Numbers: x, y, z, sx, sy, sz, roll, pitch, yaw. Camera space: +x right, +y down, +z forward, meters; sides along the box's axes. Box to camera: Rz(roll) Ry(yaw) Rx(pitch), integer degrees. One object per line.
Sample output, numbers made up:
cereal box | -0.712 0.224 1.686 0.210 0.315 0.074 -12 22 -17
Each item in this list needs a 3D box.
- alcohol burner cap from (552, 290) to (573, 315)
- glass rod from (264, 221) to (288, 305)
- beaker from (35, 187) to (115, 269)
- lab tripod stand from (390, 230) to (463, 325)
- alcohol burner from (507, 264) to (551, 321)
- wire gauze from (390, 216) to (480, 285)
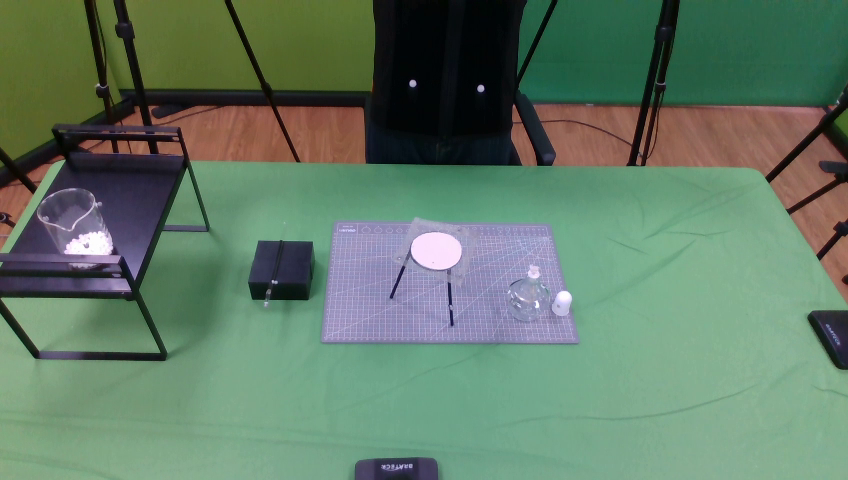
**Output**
alcohol burner cap | 0.250 0.109 1.088 0.034 0.048 0.033 4 47 -4
glass rod | -0.263 0.037 1.083 0.008 0.008 0.198 3 46 -1
beaker | -0.494 -0.012 0.867 0.074 0.101 0.083 -17 50 -18
lab tripod stand | 0.014 0.060 1.056 0.148 0.132 0.147 1 48 -1
alcohol burner | 0.185 0.086 1.056 0.078 0.120 0.077 1 46 -1
wire gauze | 0.020 0.012 1.009 0.125 0.011 0.121 16 48 12
